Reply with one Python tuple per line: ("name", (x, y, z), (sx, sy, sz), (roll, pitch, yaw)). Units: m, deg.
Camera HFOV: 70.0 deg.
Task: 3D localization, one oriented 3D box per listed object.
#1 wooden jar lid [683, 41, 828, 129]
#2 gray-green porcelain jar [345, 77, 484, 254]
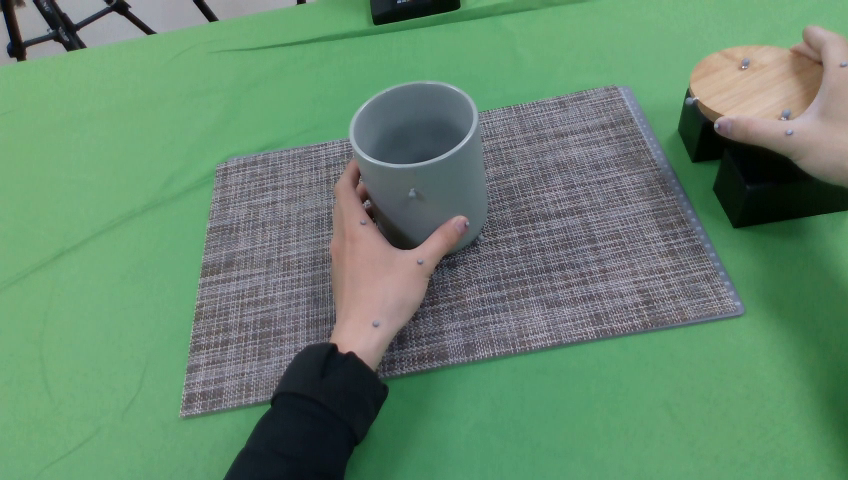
("wooden jar lid", (0.275, -0.129, 0.508), (0.108, 0.021, 0.107), (-7, 49, 8))
("gray-green porcelain jar", (-0.003, -0.058, 0.526), (0.106, 0.128, 0.105), (-5, 51, 7))
